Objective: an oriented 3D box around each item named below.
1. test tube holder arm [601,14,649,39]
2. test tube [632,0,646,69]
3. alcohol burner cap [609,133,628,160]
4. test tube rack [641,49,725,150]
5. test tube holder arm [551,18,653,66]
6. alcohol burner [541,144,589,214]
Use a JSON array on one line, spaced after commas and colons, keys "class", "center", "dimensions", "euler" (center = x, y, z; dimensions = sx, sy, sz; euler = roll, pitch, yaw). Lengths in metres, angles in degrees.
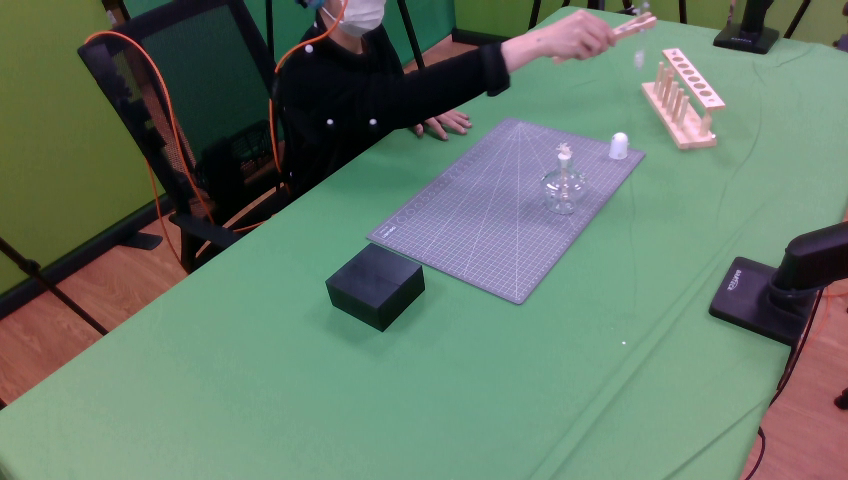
[{"class": "test tube holder arm", "center": [0.334, -0.351, 1.007], "dimensions": [0.088, 0.015, 0.010], "euler": [-29, 50, -5]}, {"class": "test tube", "center": [0.361, -0.350, 1.017], "dimensions": [0.017, 0.151, 0.017], "euler": [-7, 53, 10]}, {"class": "alcohol burner cap", "center": [0.356, -0.172, 1.100], "dimensions": [0.034, 0.048, 0.033], "euler": [-5, 41, 5]}, {"class": "test tube rack", "center": [0.495, -0.279, 1.175], "dimensions": [0.067, 0.085, 0.241], "euler": [-5, 41, 3]}, {"class": "test tube holder arm", "center": [0.295, -0.328, 1.002], "dimensions": [0.178, 0.015, 0.013], "euler": [-23, 49, -1]}, {"class": "alcohol burner", "center": [0.229, -0.102, 0.983], "dimensions": [0.078, 0.119, 0.077], "euler": [-6, 40, 5]}]
